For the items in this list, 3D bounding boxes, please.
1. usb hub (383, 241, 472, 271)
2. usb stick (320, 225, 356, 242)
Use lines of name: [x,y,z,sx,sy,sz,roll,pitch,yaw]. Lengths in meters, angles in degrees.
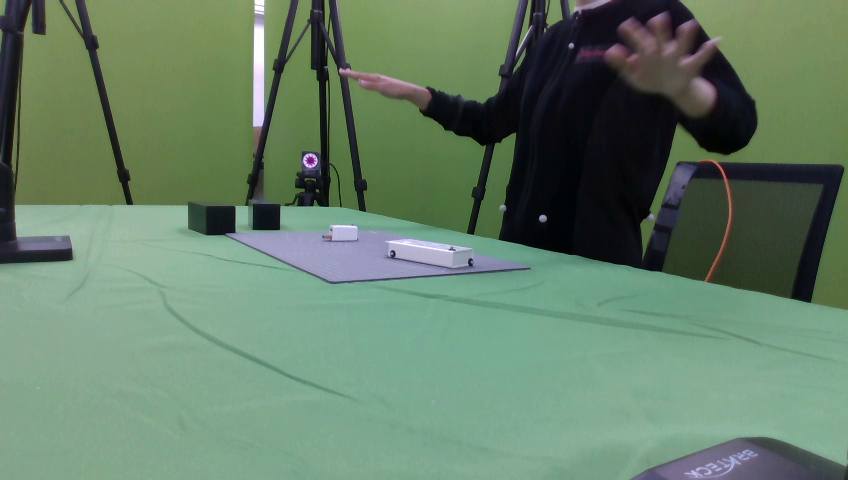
usb hub: [0.003,0.020,0.842,0.124,0.025,0.050,8,9,39]
usb stick: [-0.146,-0.010,1.017,0.059,0.027,0.021,-3,12,-26]
